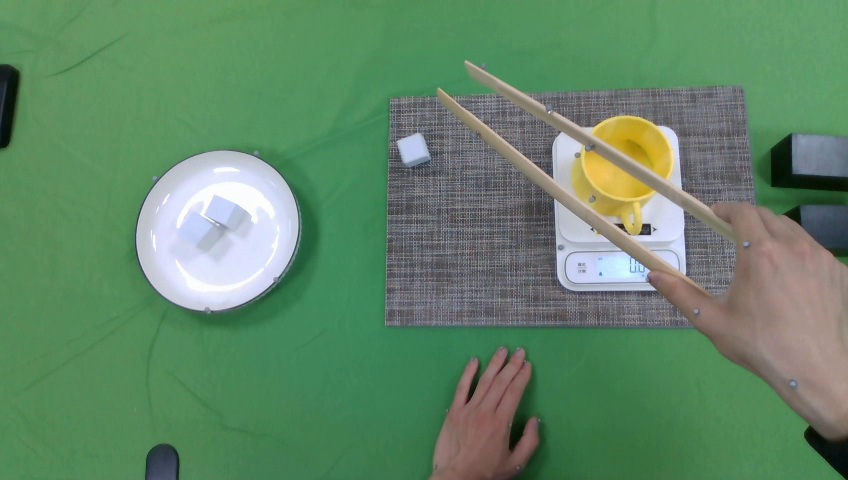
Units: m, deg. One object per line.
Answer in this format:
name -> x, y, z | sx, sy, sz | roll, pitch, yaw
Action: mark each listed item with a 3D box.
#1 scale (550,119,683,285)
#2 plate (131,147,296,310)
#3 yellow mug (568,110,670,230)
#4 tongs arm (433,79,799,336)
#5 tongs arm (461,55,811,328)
scale -> 0.230, -0.047, 0.731 | 0.148, 0.032, 0.200 | -1, 79, 5
plate -> -0.260, -0.013, 0.764 | 0.207, 0.039, 0.206 | -1, 79, 4
yellow mug -> 0.222, -0.075, 0.689 | 0.100, 0.064, 0.130 | -11, 79, 1
tongs arm -> 0.132, -0.045, 0.521 | 0.028, 0.028, 0.383 | -40, 58, -10
tongs arm -> 0.152, -0.063, 0.523 | 0.051, 0.027, 0.381 | -45, 59, -9
